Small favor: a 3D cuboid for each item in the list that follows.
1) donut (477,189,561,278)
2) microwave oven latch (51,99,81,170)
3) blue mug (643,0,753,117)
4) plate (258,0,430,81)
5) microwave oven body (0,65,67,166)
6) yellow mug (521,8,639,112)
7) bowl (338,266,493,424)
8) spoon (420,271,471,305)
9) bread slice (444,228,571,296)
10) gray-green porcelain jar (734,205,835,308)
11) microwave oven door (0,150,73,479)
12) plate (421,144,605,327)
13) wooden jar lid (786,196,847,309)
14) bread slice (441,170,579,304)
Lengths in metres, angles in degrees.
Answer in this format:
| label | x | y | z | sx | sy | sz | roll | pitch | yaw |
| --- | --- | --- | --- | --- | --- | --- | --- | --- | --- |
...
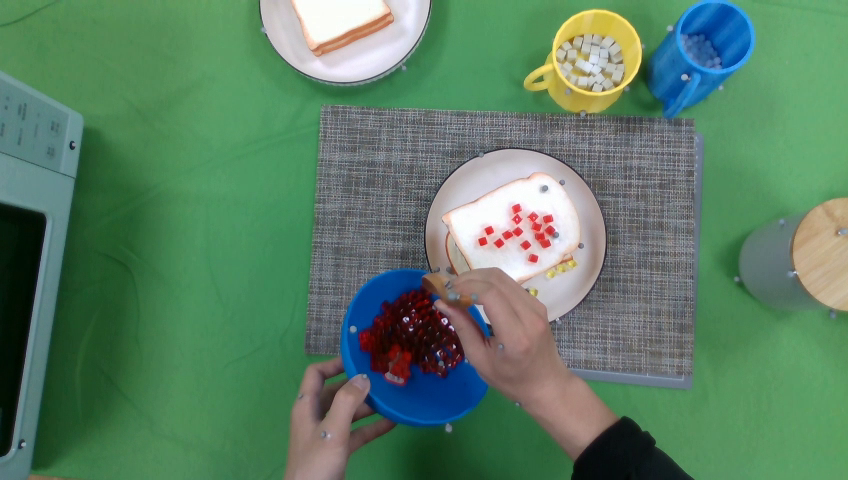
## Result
| label | x | y | z | sx | sy | sz | roll | pitch | yaw |
| --- | --- | --- | --- | --- | --- | --- | --- | --- | --- |
| donut | 0.105 | -0.007 | 0.670 | 0.099 | 0.048 | 0.099 | 2 | 84 | -16 |
| microwave oven latch | -0.429 | -0.125 | 0.714 | 0.030 | 0.029 | 0.079 | 9 | 85 | 3 |
| blue mug | 0.296 | -0.193 | 0.679 | 0.082 | 0.106 | 0.116 | 25 | 86 | 5 |
| plate | -0.094 | -0.290 | 0.737 | 0.207 | 0.039 | 0.207 | 0 | 84 | 2 |
| microwave oven body | -0.599 | 0.026 | 0.609 | 0.326 | 0.260 | 0.440 | 6 | 85 | 2 |
| yellow mug | 0.176 | -0.202 | 0.704 | 0.131 | 0.064 | 0.099 | -17 | 83 | 2 |
| bowl | -0.019 | 0.108 | 0.578 | 0.152 | 0.077 | 0.150 | 15 | 55 | -21 |
| spoon | 0.020 | 0.042 | 0.495 | 0.042 | 0.193 | 0.021 | 31 | 90 | -4 |
| bread slice | 0.091 | 0.004 | 0.700 | 0.131 | 0.019 | 0.104 | -29 | 83 | -2 |
| gray-green porcelain jar | 0.403 | 0.020 | 0.644 | 0.106 | 0.127 | 0.105 | 0 | 84 | 2 |
| microwave oven door | -0.458 | 0.081 | 0.594 | 0.039 | 0.244 | 0.355 | 5 | 84 | 3 |
| plate | 0.101 | -0.005 | 0.698 | 0.209 | 0.038 | 0.208 | 0 | 84 | 2 |
| wooden jar lid | 0.400 | 0.012 | 0.582 | 0.108 | 0.021 | 0.108 | 0 | 87 | 0 |
| bread slice | 0.096 | -0.013 | 0.640 | 0.134 | 0.018 | 0.107 | -32 | 91 | -8 |
